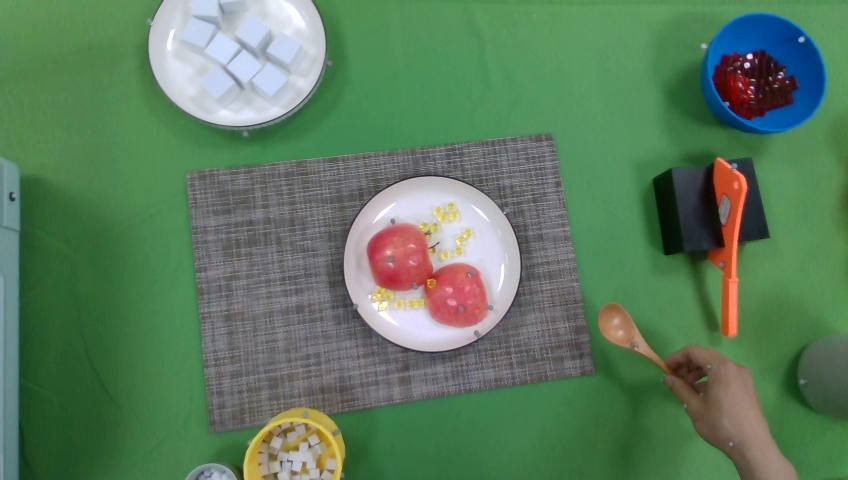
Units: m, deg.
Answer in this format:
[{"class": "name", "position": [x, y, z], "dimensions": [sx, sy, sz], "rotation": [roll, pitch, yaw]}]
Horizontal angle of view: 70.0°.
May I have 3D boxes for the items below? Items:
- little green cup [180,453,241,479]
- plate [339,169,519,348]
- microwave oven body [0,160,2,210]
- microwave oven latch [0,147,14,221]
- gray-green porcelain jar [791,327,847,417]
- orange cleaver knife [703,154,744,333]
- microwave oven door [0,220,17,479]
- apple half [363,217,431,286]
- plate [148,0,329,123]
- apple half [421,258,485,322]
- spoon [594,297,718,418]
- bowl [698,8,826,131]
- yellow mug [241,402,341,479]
[{"class": "little green cup", "position": [-0.229, 0.262, 0.658], "dimensions": [0.061, 0.038, 0.061], "rotation": [0, 84, -4]}, {"class": "plate", "position": [0.005, 0.022, 0.709], "dimensions": [0.209, 0.038, 0.208], "rotation": [1, 83, -5]}, {"class": "microwave oven body", "position": [-0.595, 0.109, 0.531], "dimensions": [0.326, 0.260, 0.440], "rotation": [-4, 83, -6]}, {"class": "microwave oven latch", "position": [-0.469, -0.061, 0.663], "dimensions": [0.030, 0.029, 0.079], "rotation": [-3, 83, -6]}, {"class": "gray-green porcelain jar", "position": [0.502, 0.152, 0.694], "dimensions": [0.106, 0.126, 0.105], "rotation": [1, 82, -5]}, {"class": "orange cleaver knife", "position": [0.353, 0.005, 0.723], "dimensions": [0.012, 0.077, 0.212], "rotation": [-6, 106, -2]}, {"class": "microwave oven door", "position": [-0.446, 0.141, 0.536], "dimensions": [0.039, 0.244, 0.354], "rotation": [-4, 82, -5]}, {"class": "apple half", "position": [-0.031, 0.012, 0.691], "dimensions": [0.075, 0.053, 0.080], "rotation": [-9, 84, -4]}, {"class": "plate", "position": [-0.218, -0.237, 0.728], "dimensions": [0.208, 0.039, 0.207], "rotation": [1, 82, -5]}, {"class": "apple half", "position": [0.035, 0.058, 0.700], "dimensions": [0.081, 0.033, 0.081], "rotation": [1, 80, -3]}, {"class": "spoon", "position": [0.265, 0.137, 0.689], "dimensions": [0.193, 0.021, 0.041], "rotation": [43, 70, 0]}, {"class": "bowl", "position": [0.404, -0.200, 0.757], "dimensions": [0.151, 0.077, 0.151], "rotation": [1, 83, -5]}, {"class": "yellow mug", "position": [-0.142, 0.246, 0.654], "dimensions": [0.100, 0.064, 0.130], "rotation": [5, 85, -5]}]
